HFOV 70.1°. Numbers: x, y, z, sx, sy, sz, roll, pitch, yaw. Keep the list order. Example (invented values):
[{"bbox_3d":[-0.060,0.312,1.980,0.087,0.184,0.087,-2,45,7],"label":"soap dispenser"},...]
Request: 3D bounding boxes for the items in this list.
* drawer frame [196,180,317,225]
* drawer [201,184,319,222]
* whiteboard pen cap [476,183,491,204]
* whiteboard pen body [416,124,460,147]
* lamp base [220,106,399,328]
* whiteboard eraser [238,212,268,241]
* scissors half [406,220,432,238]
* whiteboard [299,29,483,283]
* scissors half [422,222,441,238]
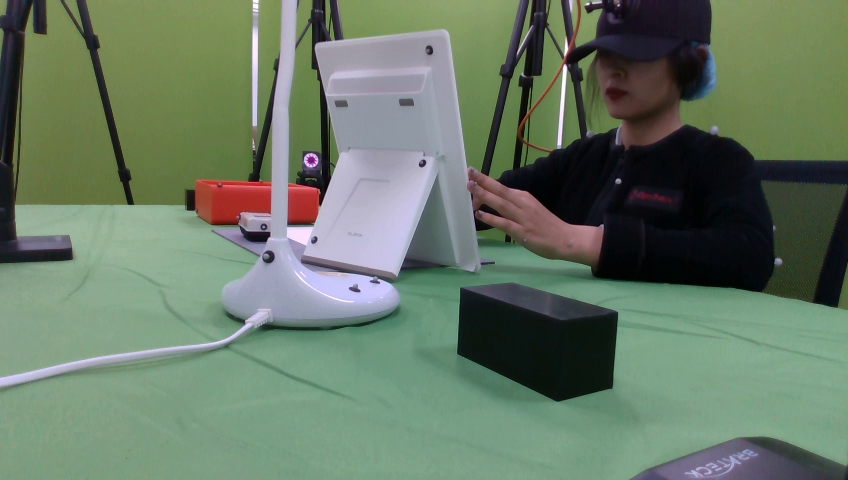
[{"bbox_3d":[-0.359,-0.083,1.292,0.215,0.082,0.200,-2,10,-30],"label":"drawer frame"},{"bbox_3d":[-0.353,-0.082,1.295,0.213,0.073,0.193,-2,10,-28],"label":"drawer"},{"bbox_3d":[0.078,-0.063,0.807,0.018,0.018,0.033,1,34,-10],"label":"whiteboard pen cap"},{"bbox_3d":[0.019,-0.141,0.813,0.017,0.017,0.141,6,3,23],"label":"whiteboard pen body"},{"bbox_3d":[-0.102,-0.023,0.531,0.160,0.180,0.179,4,10,10],"label":"lamp base"},{"bbox_3d":[-0.272,-0.023,0.998,0.056,0.042,0.112,-2,9,-24],"label":"whiteboard eraser"},{"bbox_3d":[-0.006,-0.022,1.215,0.040,0.013,0.174,6,10,-15],"label":"scissors half"},{"bbox_3d":[-0.074,-0.082,0.742,0.216,0.305,0.144,9,30,38],"label":"whiteboard"},{"bbox_3d":[0.013,-0.018,1.217,0.040,0.013,0.175,14,9,1],"label":"scissors half"}]
